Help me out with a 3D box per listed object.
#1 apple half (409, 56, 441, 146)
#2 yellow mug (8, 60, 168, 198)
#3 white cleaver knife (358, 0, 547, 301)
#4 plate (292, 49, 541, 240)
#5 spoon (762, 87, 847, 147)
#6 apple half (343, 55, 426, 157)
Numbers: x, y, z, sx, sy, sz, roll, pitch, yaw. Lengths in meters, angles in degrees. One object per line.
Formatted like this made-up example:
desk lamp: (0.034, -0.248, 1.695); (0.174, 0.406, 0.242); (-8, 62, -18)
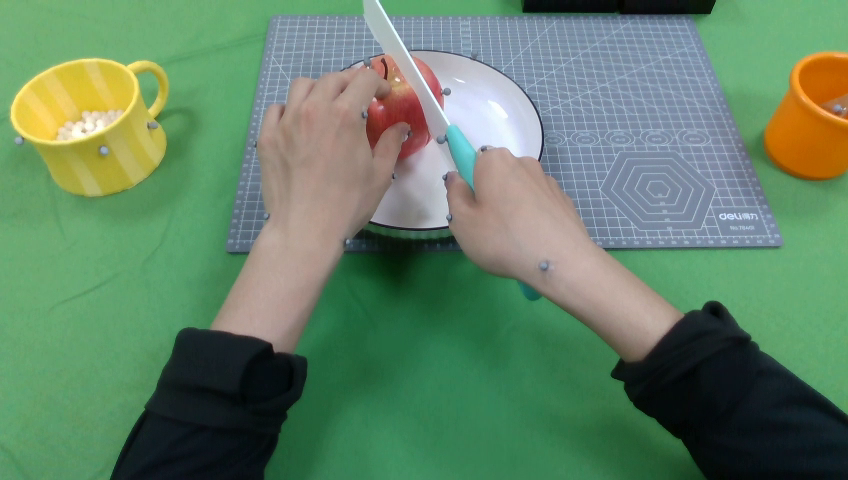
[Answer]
apple half: (-0.005, -0.121, 0.513); (0.033, 0.082, 0.080); (-26, 60, -13)
yellow mug: (-0.273, -0.105, 0.519); (0.099, 0.064, 0.130); (29, 60, 17)
white cleaver knife: (0.013, -0.081, 0.454); (0.021, 0.066, 0.284); (-25, 72, -8)
plate: (-0.006, -0.083, 0.521); (0.209, 0.038, 0.207); (1, 57, -1)
spoon: (0.379, -0.135, 0.497); (0.022, 0.194, 0.041); (26, 43, -37)
apple half: (-0.039, -0.105, 0.504); (0.053, 0.075, 0.080); (-28, 66, -10)
